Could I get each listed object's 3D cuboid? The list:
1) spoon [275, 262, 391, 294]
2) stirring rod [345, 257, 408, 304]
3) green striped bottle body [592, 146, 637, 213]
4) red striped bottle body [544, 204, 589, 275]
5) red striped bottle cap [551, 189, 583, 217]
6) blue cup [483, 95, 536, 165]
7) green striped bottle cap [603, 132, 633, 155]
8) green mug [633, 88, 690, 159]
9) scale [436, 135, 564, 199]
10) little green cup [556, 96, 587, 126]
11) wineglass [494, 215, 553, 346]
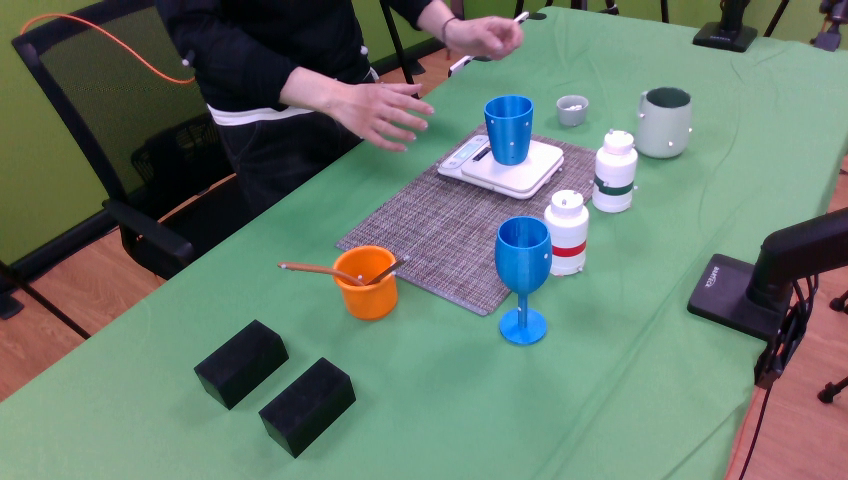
[{"bbox_3d":[-0.120,0.050,0.830,0.041,0.195,0.021,32,97,45],"label":"spoon"},{"bbox_3d":[-0.067,0.057,0.815,0.014,0.175,0.006,-24,82,-38],"label":"stirring rod"},{"bbox_3d":[0.307,-0.108,0.976,0.063,0.120,0.063,-4,41,4],"label":"green striped bottle body"},{"bbox_3d":[0.206,-0.011,0.877,0.063,0.120,0.062,-5,41,4],"label":"red striped bottle body"},{"bbox_3d":[0.200,-0.052,0.843,0.044,0.018,0.044,-2,42,2],"label":"red striped bottle cap"},{"bbox_3d":[0.149,-0.188,1.053,0.092,0.100,0.092,-6,39,5],"label":"blue cup"},{"bbox_3d":[0.302,-0.149,0.939,0.044,0.020,0.044,-3,40,3],"label":"green striped bottle cap"},{"bbox_3d":[0.423,-0.217,1.099,0.093,0.105,0.124,-16,41,-10],"label":"green mug"},{"bbox_3d":[0.137,-0.141,1.101,0.199,0.032,0.149,22,48,30],"label":"scale"},{"bbox_3d":[0.295,-0.258,1.214,0.061,0.039,0.061,-4,42,4],"label":"little green cup"},{"bbox_3d":[0.127,0.055,0.770,0.074,0.173,0.073,-4,40,4],"label":"wineglass"}]
